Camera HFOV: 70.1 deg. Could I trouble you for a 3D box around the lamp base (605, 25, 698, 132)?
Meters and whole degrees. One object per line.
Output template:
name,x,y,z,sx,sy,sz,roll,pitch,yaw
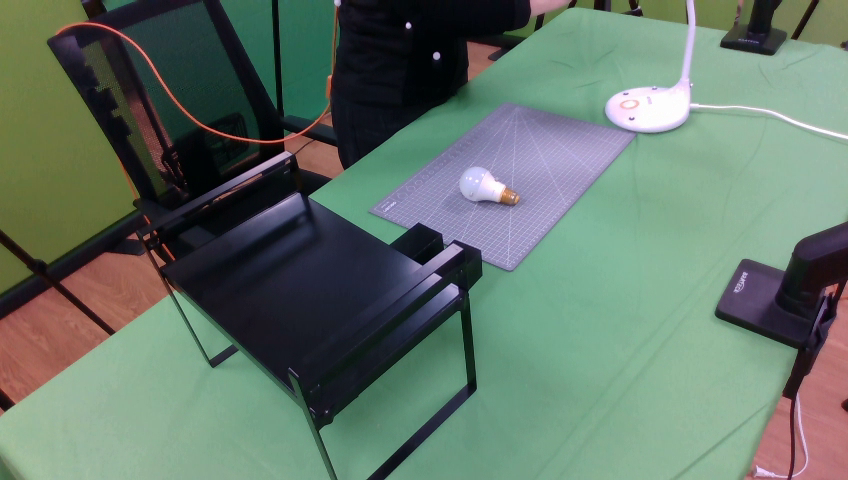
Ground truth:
lamp base,0.449,-0.322,1.161,0.179,0.181,0.159,-6,41,-2

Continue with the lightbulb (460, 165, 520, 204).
lightbulb,0.113,-0.089,1.037,0.107,0.059,0.059,22,47,10
